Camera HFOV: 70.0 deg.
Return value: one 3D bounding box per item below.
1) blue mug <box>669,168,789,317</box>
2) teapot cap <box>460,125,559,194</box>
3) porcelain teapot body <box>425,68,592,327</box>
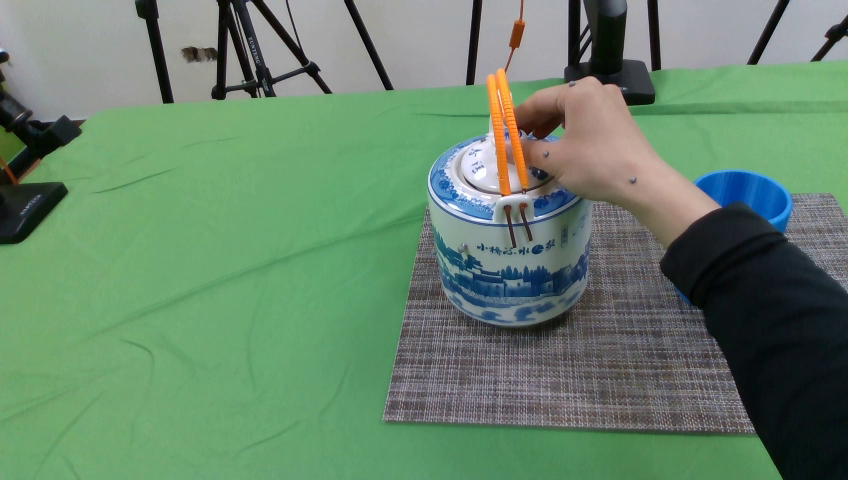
[{"bbox_3d":[0.271,0.011,0.538,0.082,0.107,0.115,-1,41,10],"label":"blue mug"},{"bbox_3d":[0.071,-0.073,0.513,0.085,0.044,0.084,-6,41,5],"label":"teapot cap"},{"bbox_3d":[0.075,-0.057,0.563,0.145,0.227,0.203,-6,40,5],"label":"porcelain teapot body"}]
